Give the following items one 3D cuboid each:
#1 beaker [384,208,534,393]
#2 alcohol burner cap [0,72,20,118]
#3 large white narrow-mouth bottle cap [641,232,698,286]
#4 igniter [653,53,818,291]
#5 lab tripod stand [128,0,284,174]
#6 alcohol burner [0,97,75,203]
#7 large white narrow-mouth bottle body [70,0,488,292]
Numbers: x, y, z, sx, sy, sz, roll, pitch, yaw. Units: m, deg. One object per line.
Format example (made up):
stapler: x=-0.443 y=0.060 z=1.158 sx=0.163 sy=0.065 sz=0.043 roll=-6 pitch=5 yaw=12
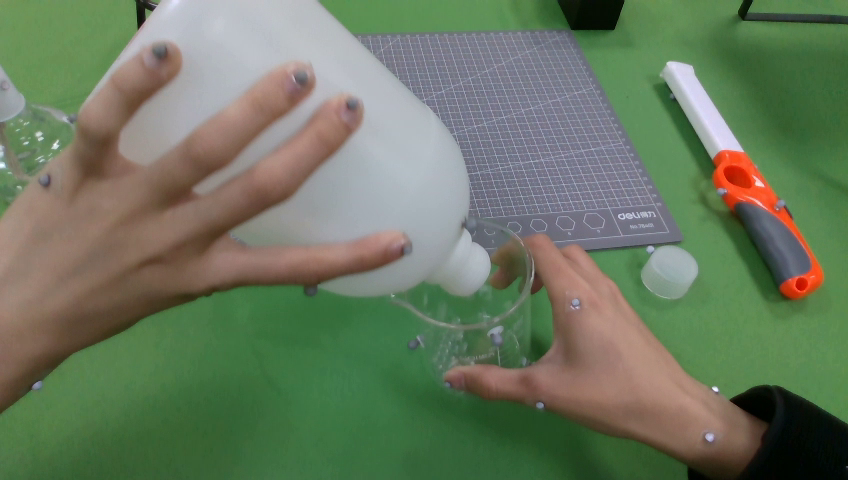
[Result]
beaker: x=0.024 y=0.043 z=0.364 sx=0.084 sy=0.101 sz=0.073 roll=-17 pitch=51 yaw=-3
alcohol burner cap: x=-0.291 y=-0.105 z=0.394 sx=0.034 sy=0.048 sz=0.033 roll=2 pitch=58 yaw=-3
large white narrow-mouth bottle cap: x=0.186 y=0.014 z=0.459 sx=0.038 sy=0.024 sz=0.037 roll=3 pitch=52 yaw=-3
igniter: x=0.265 y=-0.072 z=0.530 sx=0.057 sy=0.025 sz=0.273 roll=3 pitch=52 yaw=-17
lab tripod stand: x=-0.167 y=-0.145 z=0.469 sx=0.148 sy=0.132 sz=0.147 roll=4 pitch=52 yaw=-5
alcohol burner: x=-0.294 y=-0.083 z=0.423 sx=0.078 sy=0.120 sz=0.077 roll=4 pitch=50 yaw=-4
large white narrow-mouth bottle body: x=-0.042 y=-0.033 z=0.279 sx=0.196 sy=0.101 sz=0.101 roll=37 pitch=44 yaw=-31
